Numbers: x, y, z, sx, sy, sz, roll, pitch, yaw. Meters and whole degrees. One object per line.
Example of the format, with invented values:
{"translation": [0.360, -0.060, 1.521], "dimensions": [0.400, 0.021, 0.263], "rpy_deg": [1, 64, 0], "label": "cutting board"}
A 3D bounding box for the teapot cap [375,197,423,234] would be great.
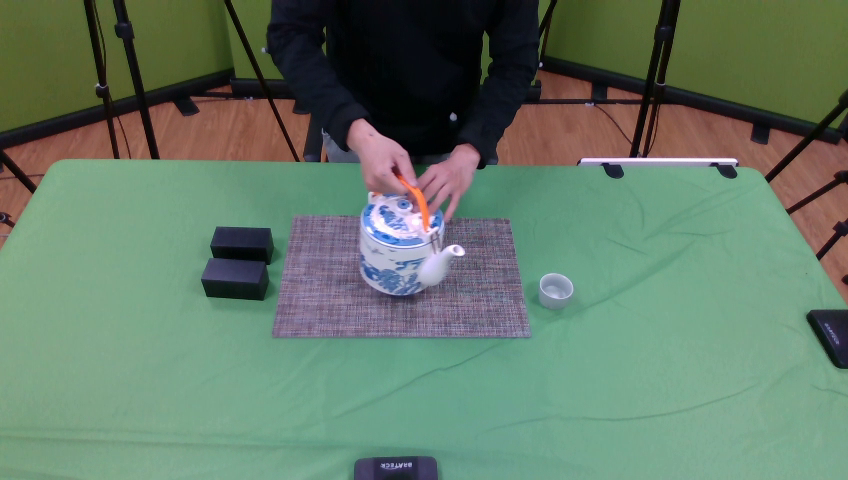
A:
{"translation": [-0.041, -0.045, 1.016], "dimensions": [0.085, 0.044, 0.084], "rpy_deg": [4, 50, -5], "label": "teapot cap"}

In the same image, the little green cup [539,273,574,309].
{"translation": [0.241, 0.096, 1.113], "dimensions": [0.061, 0.039, 0.061], "rpy_deg": [3, 47, -3], "label": "little green cup"}

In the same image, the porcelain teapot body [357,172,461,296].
{"translation": [-0.020, -0.003, 1.033], "dimensions": [0.204, 0.226, 0.145], "rpy_deg": [33, 50, 23], "label": "porcelain teapot body"}
